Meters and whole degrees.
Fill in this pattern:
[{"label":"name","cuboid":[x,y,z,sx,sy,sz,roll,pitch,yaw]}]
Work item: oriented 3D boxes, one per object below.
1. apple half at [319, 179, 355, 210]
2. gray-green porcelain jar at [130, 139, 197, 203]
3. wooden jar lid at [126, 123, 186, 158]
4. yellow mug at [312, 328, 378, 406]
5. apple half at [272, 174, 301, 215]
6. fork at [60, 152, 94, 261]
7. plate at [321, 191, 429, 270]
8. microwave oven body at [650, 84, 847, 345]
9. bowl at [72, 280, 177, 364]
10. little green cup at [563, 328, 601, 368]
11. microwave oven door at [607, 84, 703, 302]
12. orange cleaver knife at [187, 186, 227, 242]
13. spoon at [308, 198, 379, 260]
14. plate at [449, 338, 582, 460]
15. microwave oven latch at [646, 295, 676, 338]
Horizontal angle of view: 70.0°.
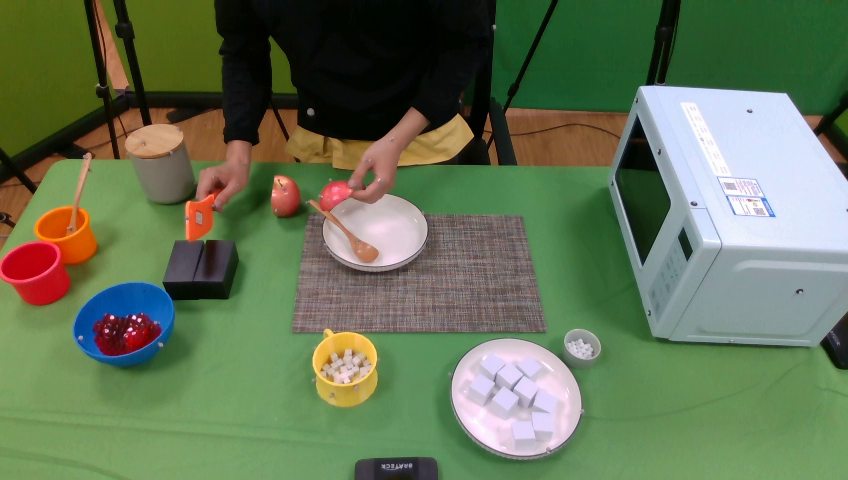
[{"label":"apple half","cuboid":[-0.168,-0.095,1.133,0.081,0.033,0.081,-30,26,17]},{"label":"gray-green porcelain jar","cuboid":[-0.523,-0.147,1.224,0.106,0.127,0.105,2,47,-2]},{"label":"wooden jar lid","cuboid":[-0.519,-0.190,1.179,0.108,0.021,0.107,2,44,-2]},{"label":"yellow mug","cuboid":[-0.132,0.193,0.971,0.100,0.064,0.130,-22,51,-22]},{"label":"apple half","cuboid":[-0.275,-0.090,1.225,0.053,0.075,0.080,0,42,-6]},{"label":"fork","cuboid":[-0.638,-0.063,1.119,0.028,0.018,0.207,12,90,11]},{"label":"plate","cuboid":[-0.094,-0.015,1.185,0.209,0.038,0.208,2,46,-2]},{"label":"microwave oven body","cuboid":[0.569,-0.054,1.116,0.326,0.261,0.439,2,46,-1]},{"label":"bowl","cuboid":[-0.473,0.147,0.982,0.151,0.077,0.150,2,46,-2]},{"label":"little green cup","cuboid":[0.265,0.185,1.025,0.061,0.039,0.061,1,45,-1]},{"label":"microwave oven door","cuboid":[0.424,-0.096,1.138,0.039,0.245,0.353,3,46,-1]},{"label":"orange cleaver knife","cuboid":[-0.401,-0.053,1.123,0.012,0.077,0.210,2,17,-1]},{"label":"spoon","cuboid":[-0.159,-0.025,1.172,0.041,0.022,0.193,-35,69,-31]},{"label":"plate","cuboid":[0.141,0.251,0.956,0.208,0.039,0.206,2,46,-2]},{"label":"microwave oven latch","cuboid":[0.413,0.133,1.061,0.030,0.029,0.078,4,46,1]}]
